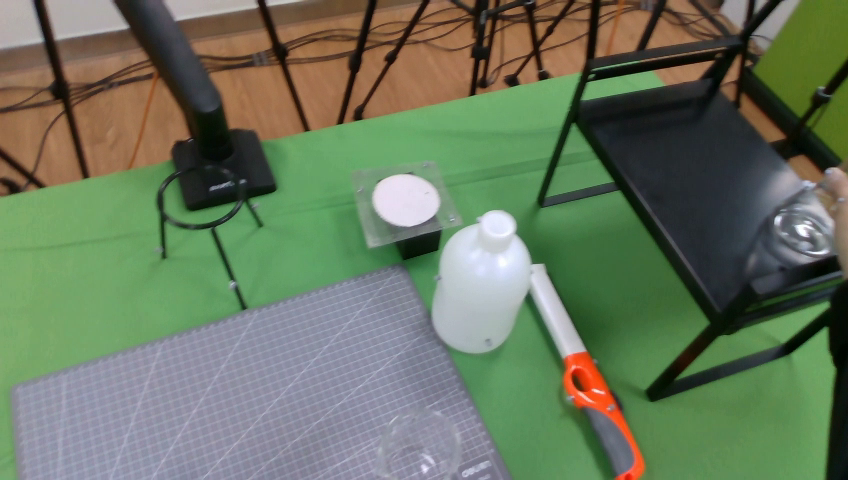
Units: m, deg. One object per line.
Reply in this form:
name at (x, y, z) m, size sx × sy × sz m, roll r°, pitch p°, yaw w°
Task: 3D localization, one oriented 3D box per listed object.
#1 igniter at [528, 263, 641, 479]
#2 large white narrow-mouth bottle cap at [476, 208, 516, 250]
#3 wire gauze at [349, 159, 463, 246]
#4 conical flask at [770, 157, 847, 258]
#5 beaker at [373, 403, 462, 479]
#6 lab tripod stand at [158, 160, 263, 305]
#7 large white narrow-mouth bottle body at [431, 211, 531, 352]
igniter at (0.178, 0.143, 0.705) m, size 0.057 × 0.025 × 0.273 m, roll -5°, pitch 54°, yaw -23°
large white narrow-mouth bottle cap at (0.070, -0.011, 0.593) m, size 0.038 × 0.024 × 0.037 m, roll 3°, pitch 55°, yaw -4°
wire gauze at (-0.025, -0.054, 0.772) m, size 0.122 × 0.011 × 0.124 m, roll -10°, pitch 56°, yaw -13°
conical flask at (0.400, -0.044, 0.582) m, size 0.075 × 0.123 × 0.074 m, roll 3°, pitch 54°, yaw -4°
beaker at (-0.010, 0.214, 0.585) m, size 0.084 × 0.101 × 0.073 m, roll -20°, pitch 59°, yaw -18°
lab tripod stand at (-0.241, -0.013, 0.701) m, size 0.148 × 0.132 × 0.147 m, roll 4°, pitch 55°, yaw -6°
large white narrow-mouth bottle body at (0.064, 0.039, 0.661) m, size 0.102 × 0.196 × 0.101 m, roll 3°, pitch 54°, yaw -4°
